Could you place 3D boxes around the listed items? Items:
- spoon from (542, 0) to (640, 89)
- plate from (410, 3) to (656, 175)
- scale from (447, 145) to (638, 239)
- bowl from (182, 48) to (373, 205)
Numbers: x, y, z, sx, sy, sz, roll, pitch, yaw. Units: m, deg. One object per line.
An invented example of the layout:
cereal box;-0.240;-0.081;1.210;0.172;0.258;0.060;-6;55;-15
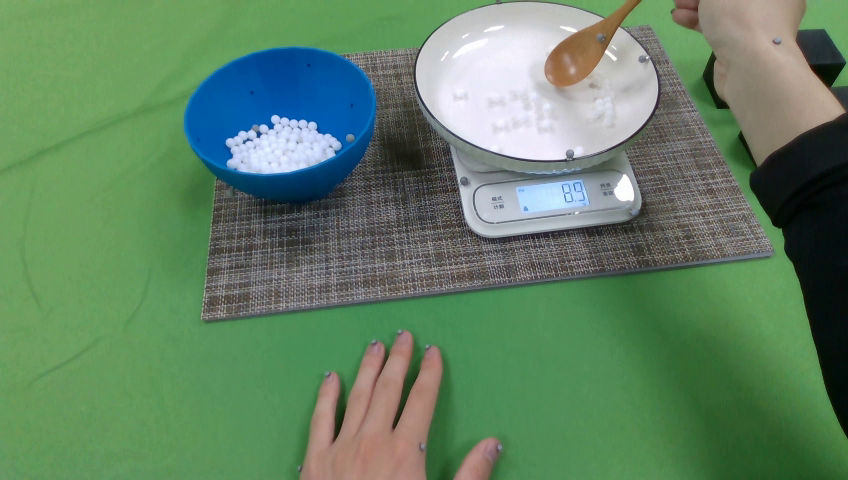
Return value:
spoon;0.167;-0.188;0.474;0.022;0.194;0.041;-8;67;-42
plate;0.091;-0.131;0.527;0.209;0.038;0.207;0;55;0
scale;0.094;-0.093;0.541;0.149;0.032;0.199;-7;55;-4
bowl;-0.114;-0.082;0.509;0.151;0.077;0.150;-1;54;1
